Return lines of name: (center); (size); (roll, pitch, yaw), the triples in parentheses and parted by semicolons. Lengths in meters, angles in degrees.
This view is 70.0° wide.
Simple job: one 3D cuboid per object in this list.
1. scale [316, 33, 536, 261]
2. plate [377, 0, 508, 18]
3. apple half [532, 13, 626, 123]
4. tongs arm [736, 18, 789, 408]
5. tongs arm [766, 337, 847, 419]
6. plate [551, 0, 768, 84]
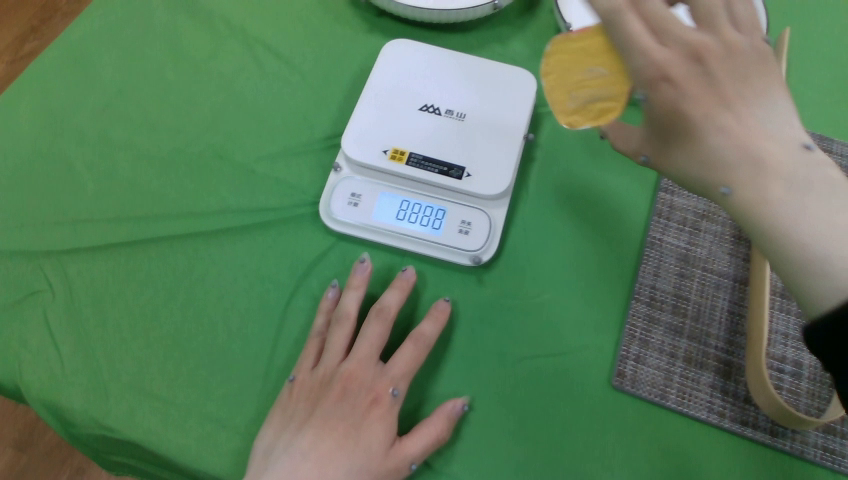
scale: (0.007, -0.086, 0.515); (0.148, 0.032, 0.199); (15, 63, 6)
plate: (0.015, -0.300, 0.627); (0.208, 0.039, 0.206); (1, 62, -2)
apple half: (0.121, -0.125, 0.449); (0.033, 0.081, 0.080); (-21, 62, -39)
tongs arm: (0.291, -0.049, 0.507); (0.028, 0.028, 0.385); (20, 63, 3)
tongs arm: (0.366, -0.014, 0.490); (0.050, 0.027, 0.383); (31, 65, 12)
plate: (0.227, -0.229, 0.599); (0.209, 0.038, 0.207); (1, 61, -2)
